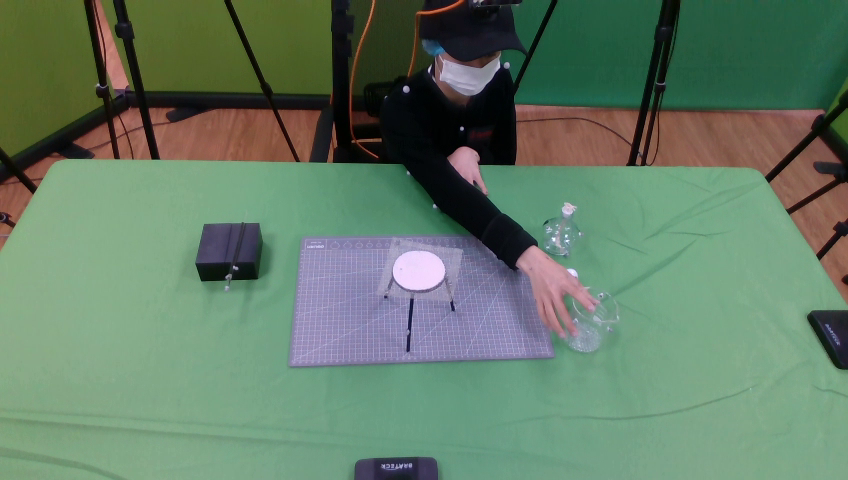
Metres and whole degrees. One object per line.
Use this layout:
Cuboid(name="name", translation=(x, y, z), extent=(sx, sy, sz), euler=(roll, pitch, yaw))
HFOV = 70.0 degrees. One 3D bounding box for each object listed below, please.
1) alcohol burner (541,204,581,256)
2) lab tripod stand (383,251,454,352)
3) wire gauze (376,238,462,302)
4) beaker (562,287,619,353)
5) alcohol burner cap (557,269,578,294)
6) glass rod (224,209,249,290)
Cuboid(name="alcohol burner", translation=(0.271, -0.026, 1.182), extent=(0.078, 0.119, 0.077), euler=(3, 46, -3))
Cuboid(name="lab tripod stand", translation=(-0.015, 0.094, 1.025), extent=(0.148, 0.132, 0.147), euler=(1, 46, -1))
Cuboid(name="wire gauze", translation=(-0.005, 0.048, 0.977), extent=(0.121, 0.011, 0.124), euler=(9, 46, 5))
Cuboid(name="beaker", translation=(0.281, 0.140, 1.032), extent=(0.083, 0.101, 0.074), euler=(33, 53, 24))
Cuboid(name="alcohol burner cap", translation=(0.270, 0.075, 1.135), extent=(0.034, 0.048, 0.033), euler=(2, 46, -2))
Cuboid(name="glass rod", translation=(-0.340, 0.013, 1.102), extent=(0.008, 0.008, 0.198), euler=(2, 45, -3))
